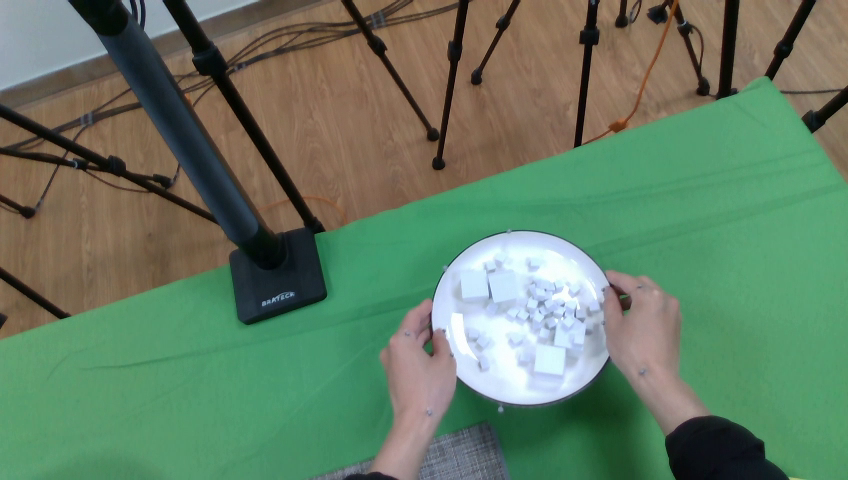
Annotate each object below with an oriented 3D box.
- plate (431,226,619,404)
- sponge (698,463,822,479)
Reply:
[{"bbox_3d":[0.112,0.084,0.689,0.207,0.039,0.206,-3,65,7],"label":"plate"},{"bbox_3d":[0.331,0.331,0.579,0.118,0.061,0.205,4,67,12],"label":"sponge"}]
